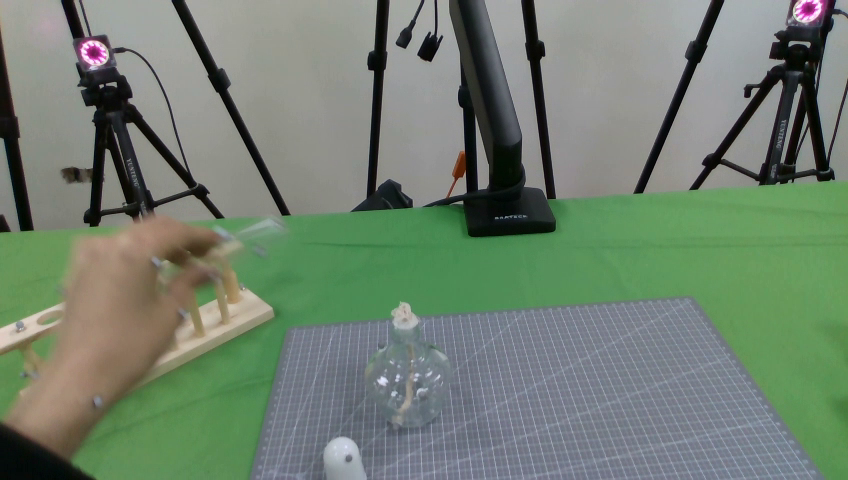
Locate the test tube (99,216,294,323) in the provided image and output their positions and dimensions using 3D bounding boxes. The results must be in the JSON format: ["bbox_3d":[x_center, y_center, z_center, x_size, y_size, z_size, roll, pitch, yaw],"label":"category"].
[{"bbox_3d":[-0.156,0.021,0.410,0.150,0.017,0.017,-25,30,8],"label":"test tube"}]

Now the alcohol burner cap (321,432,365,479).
[{"bbox_3d":[-0.065,0.172,0.478,0.034,0.048,0.033,-1,31,1],"label":"alcohol burner cap"}]

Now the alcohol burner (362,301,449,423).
[{"bbox_3d":[-0.017,0.100,0.525,0.078,0.120,0.077,-1,32,1],"label":"alcohol burner"}]

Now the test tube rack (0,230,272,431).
[{"bbox_3d":[-0.284,0.081,0.617,0.242,0.086,0.066,-28,39,-35],"label":"test tube rack"}]
